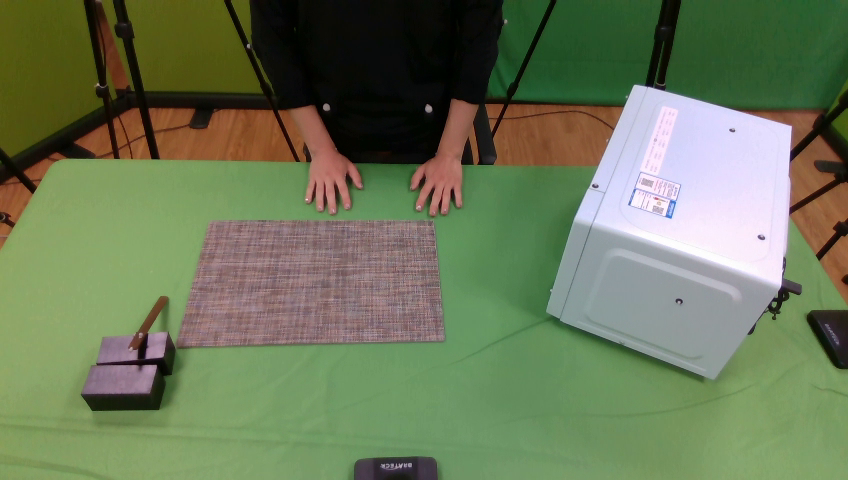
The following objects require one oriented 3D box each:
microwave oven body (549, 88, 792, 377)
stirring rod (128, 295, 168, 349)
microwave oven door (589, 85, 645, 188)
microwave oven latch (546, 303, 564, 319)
[{"bbox_3d":[0.456,-0.028,1.088,0.325,0.261,0.440,20,47,16],"label":"microwave oven body"},{"bbox_3d":[-0.451,0.131,0.996,0.014,0.006,0.175,9,21,-10],"label":"stirring rod"},{"bbox_3d":[0.342,-0.107,1.149,0.039,0.245,0.354,20,48,15],"label":"microwave oven door"},{"bbox_3d":[0.242,0.102,1.081,0.030,0.029,0.079,21,48,17],"label":"microwave oven latch"}]
